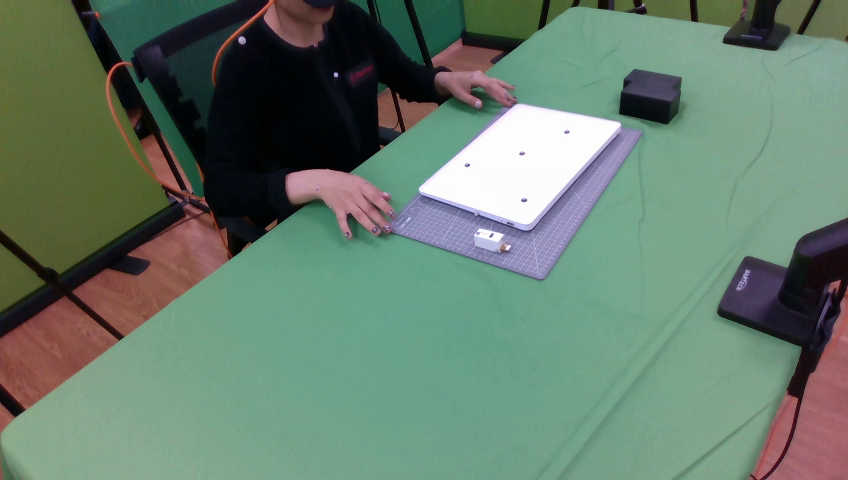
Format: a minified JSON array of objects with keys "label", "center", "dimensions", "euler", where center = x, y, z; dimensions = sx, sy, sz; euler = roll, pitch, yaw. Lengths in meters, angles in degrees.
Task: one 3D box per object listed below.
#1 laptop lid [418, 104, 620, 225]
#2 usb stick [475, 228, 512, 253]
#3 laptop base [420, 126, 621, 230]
[{"label":"laptop lid","center":[0.181,-0.157,1.116],"dimensions":[0.239,0.013,0.358],"euler":[22,49,34]},{"label":"usb stick","center":[0.110,0.002,0.950],"dimensions":[0.059,0.027,0.021],"euler":[19,47,25]},{"label":"laptop base","center":[0.184,-0.147,1.123],"dimensions":[0.233,0.023,0.355],"euler":[19,47,34]}]
